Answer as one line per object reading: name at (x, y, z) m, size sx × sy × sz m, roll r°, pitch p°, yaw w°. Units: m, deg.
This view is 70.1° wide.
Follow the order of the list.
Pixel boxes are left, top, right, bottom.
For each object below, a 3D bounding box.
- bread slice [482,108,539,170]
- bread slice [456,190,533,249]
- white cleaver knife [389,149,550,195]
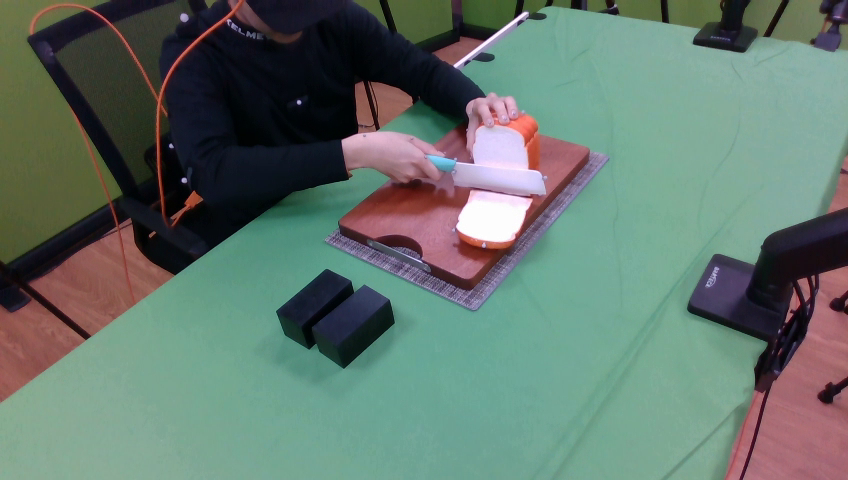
bread slice at (0.143, -0.152, 1.001) m, size 0.106 × 0.135 × 0.018 m, roll 22°, pitch 45°, yaw 25°
bread slice at (0.105, -0.032, 0.945) m, size 0.104 × 0.019 × 0.131 m, roll 11°, pitch 40°, yaw 16°
white cleaver knife at (0.068, -0.110, 1.009) m, size 0.284 × 0.066 × 0.021 m, roll 12°, pitch 55°, yaw 24°
